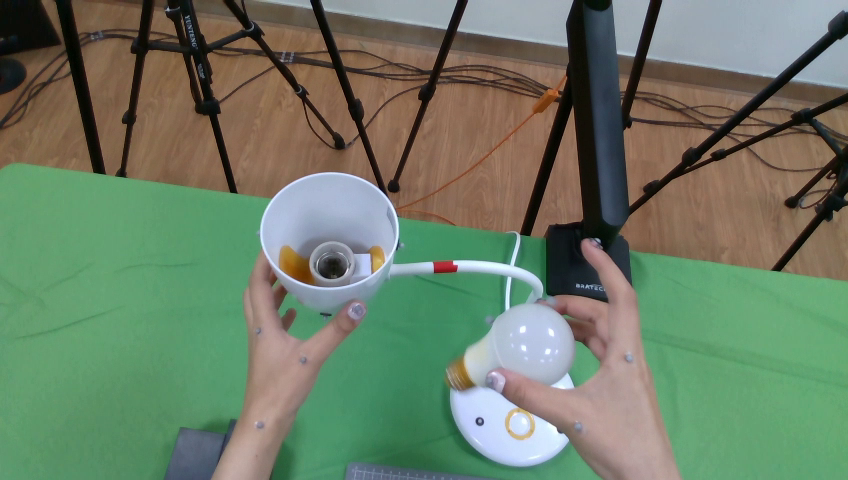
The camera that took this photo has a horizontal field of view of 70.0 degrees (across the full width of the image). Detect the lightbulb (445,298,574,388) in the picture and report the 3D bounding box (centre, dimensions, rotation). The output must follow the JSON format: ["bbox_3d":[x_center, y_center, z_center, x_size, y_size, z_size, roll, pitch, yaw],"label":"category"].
[{"bbox_3d":[0.057,0.081,0.438,0.060,0.107,0.059,33,41,-34],"label":"lightbulb"}]

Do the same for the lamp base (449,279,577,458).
[{"bbox_3d":[0.115,0.138,0.697,0.161,0.181,0.177,-5,55,-9],"label":"lamp base"}]

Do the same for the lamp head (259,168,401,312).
[{"bbox_3d":[-0.077,0.013,0.539,0.112,0.124,0.111,0,62,0],"label":"lamp head"}]
